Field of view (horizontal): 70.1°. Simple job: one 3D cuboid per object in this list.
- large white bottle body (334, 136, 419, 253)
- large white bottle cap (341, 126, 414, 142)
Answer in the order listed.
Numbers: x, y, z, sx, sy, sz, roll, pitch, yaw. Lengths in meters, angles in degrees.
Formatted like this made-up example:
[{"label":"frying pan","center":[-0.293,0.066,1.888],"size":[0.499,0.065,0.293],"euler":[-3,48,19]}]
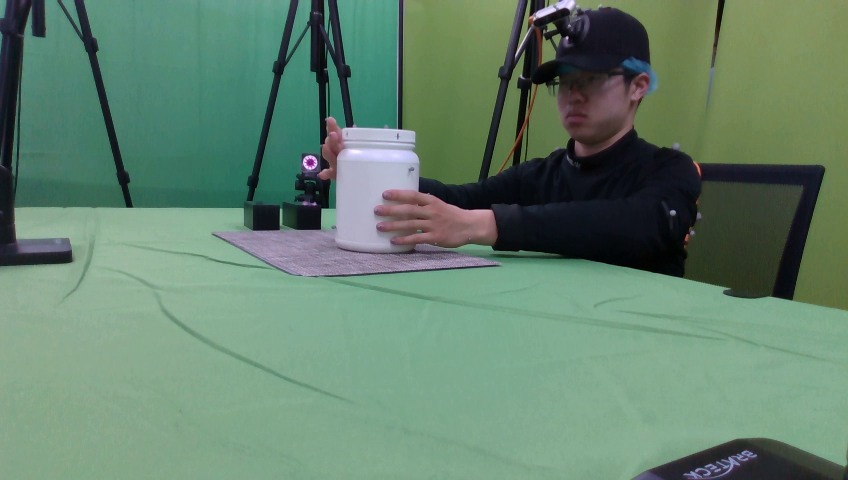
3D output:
[{"label":"large white bottle body","center":[-0.074,-0.079,0.951],"size":[0.131,0.184,0.130],"euler":[2,8,0]},{"label":"large white bottle cap","center":[-0.072,-0.164,0.940],"size":[0.115,0.018,0.115],"euler":[2,8,0]}]
